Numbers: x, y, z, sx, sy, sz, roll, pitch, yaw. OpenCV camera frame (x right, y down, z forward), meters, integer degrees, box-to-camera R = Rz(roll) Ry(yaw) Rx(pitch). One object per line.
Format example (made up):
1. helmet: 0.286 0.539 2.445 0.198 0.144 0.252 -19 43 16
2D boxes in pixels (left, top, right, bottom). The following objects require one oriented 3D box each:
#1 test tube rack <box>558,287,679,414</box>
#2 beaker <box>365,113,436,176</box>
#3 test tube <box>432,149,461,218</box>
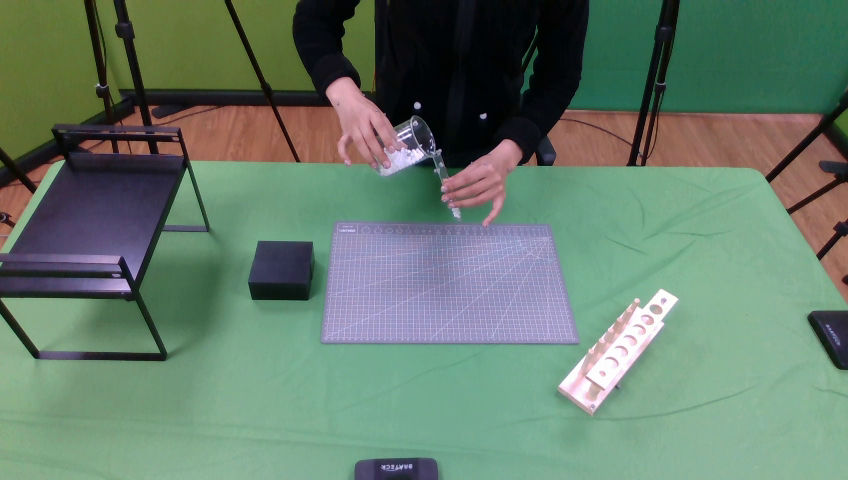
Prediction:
1. test tube rack: 0.326 0.170 1.009 0.066 0.085 0.242 35 54 26
2. beaker: -0.040 -0.154 1.007 0.100 0.084 0.073 -22 50 27
3. test tube: 0.041 -0.096 1.061 0.017 0.151 0.017 -12 41 11
